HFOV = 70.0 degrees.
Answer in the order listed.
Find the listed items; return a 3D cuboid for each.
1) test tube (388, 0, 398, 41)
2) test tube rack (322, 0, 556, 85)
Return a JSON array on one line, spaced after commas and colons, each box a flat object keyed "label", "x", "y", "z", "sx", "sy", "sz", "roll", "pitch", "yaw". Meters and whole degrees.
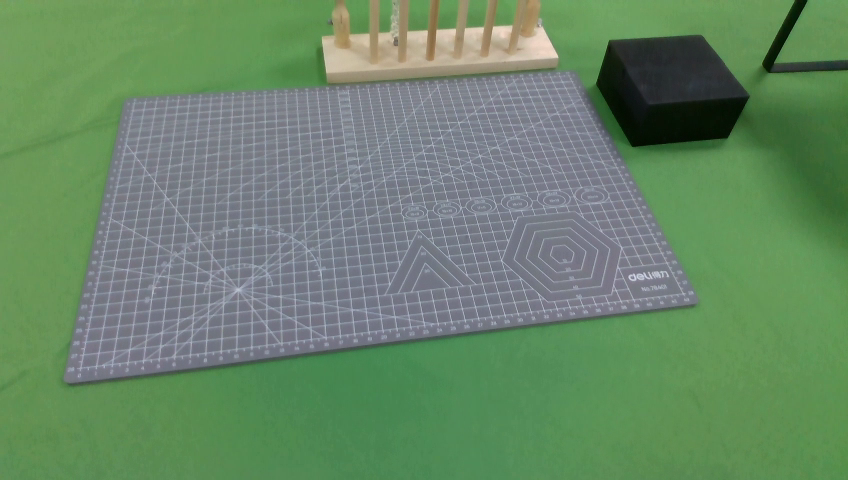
[{"label": "test tube", "x": -0.023, "y": -0.263, "z": 0.585, "sx": 0.017, "sy": 0.151, "sz": 0.017, "roll": 4, "pitch": 46, "yaw": -4}, {"label": "test tube rack", "x": 0.017, "y": -0.221, "z": 0.617, "sx": 0.243, "sy": 0.086, "sz": 0.066, "roll": -6, "pitch": 51, "yaw": -9}]
